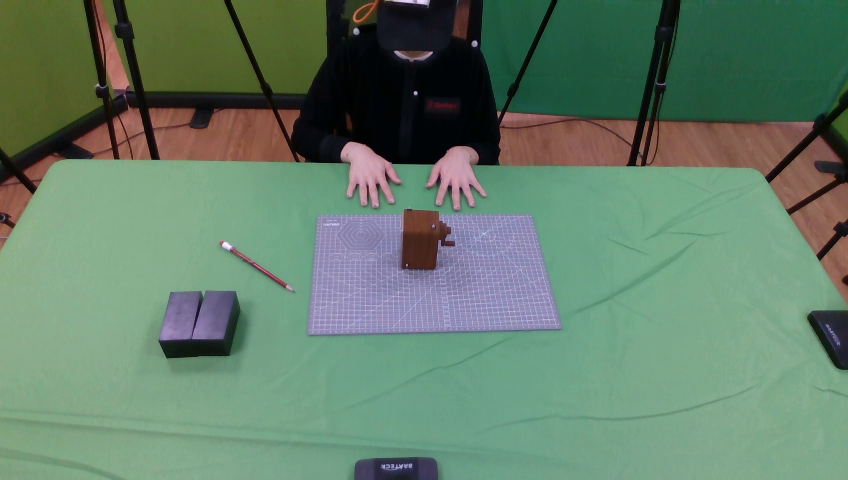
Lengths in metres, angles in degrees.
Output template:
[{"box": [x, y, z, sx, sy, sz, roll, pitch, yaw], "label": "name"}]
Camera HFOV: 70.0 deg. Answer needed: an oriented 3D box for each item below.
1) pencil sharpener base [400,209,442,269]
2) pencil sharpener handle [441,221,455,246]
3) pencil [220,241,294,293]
[{"box": [-0.006, 0.000, 1.134, 0.077, 0.107, 0.061, 2, 46, -2], "label": "pencil sharpener base"}, {"box": [0.046, -0.009, 1.129, 0.030, 0.068, 0.036, 2, 56, -2], "label": "pencil sharpener handle"}, {"box": [-0.314, 0.050, 1.137, 0.193, 0.012, 0.012, 31, 51, 22], "label": "pencil"}]
